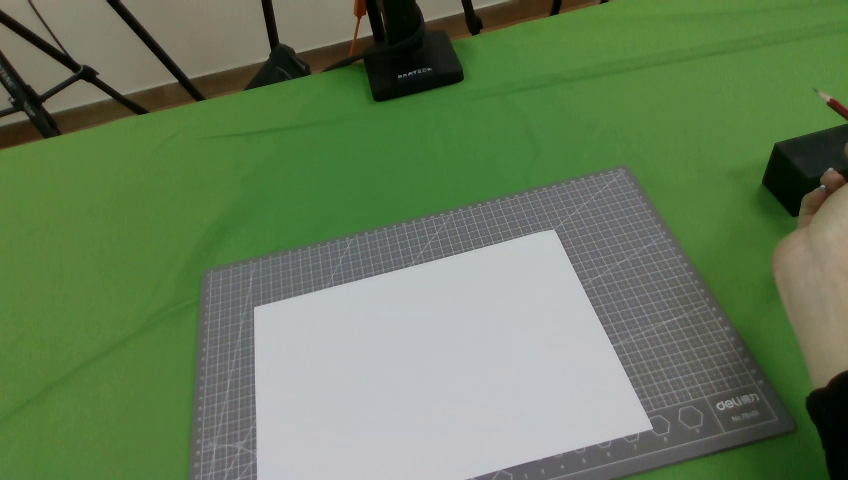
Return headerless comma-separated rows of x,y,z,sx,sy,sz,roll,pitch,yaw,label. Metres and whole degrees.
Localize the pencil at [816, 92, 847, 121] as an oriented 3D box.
0.361,-0.055,0.443,0.012,0.012,0.192,-23,53,-8,pencil
